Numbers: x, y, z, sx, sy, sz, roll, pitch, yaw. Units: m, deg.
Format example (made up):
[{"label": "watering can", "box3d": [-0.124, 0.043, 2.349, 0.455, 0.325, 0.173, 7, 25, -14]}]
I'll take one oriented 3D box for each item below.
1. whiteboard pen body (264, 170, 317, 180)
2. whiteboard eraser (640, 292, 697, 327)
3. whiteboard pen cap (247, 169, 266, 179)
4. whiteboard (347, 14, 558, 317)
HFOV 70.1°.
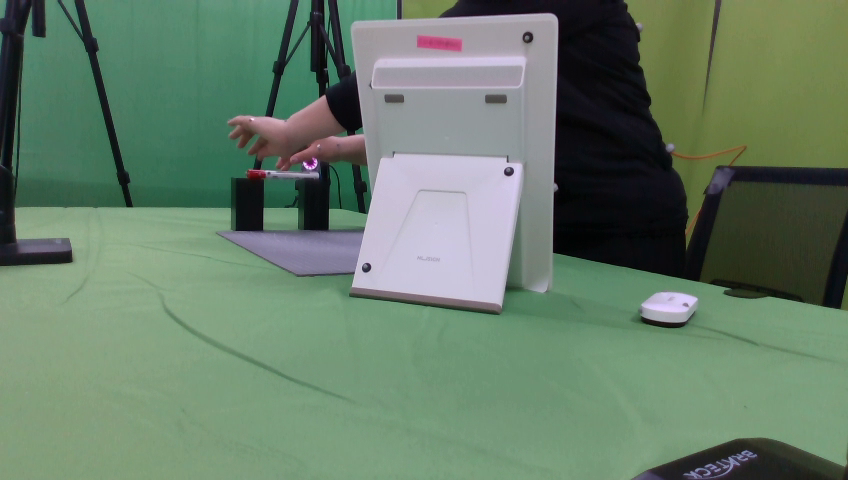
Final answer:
[{"label": "whiteboard pen body", "box3d": [-0.272, -0.127, 1.181, 0.141, 0.017, 0.017, -3, 9, -43]}, {"label": "whiteboard eraser", "box3d": [0.240, 0.066, 0.590, 0.041, 0.019, 0.102, 7, 7, 31]}, {"label": "whiteboard pen cap", "box3d": [-0.317, -0.125, 1.143, 0.032, 0.017, 0.017, 1, 7, -35]}, {"label": "whiteboard", "box3d": [0.012, -0.056, 0.609, 0.216, 0.305, 0.144, 5, 27, 20]}]
